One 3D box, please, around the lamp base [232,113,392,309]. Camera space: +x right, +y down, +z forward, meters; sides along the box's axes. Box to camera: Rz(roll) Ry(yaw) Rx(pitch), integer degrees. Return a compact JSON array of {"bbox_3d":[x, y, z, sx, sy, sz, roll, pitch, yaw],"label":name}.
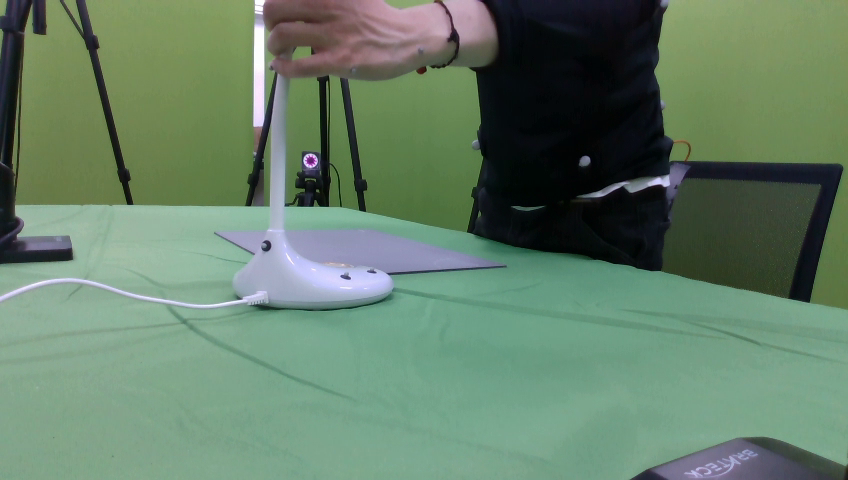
[{"bbox_3d":[-0.113,-0.031,0.594,0.160,0.180,0.179,4,10,18],"label":"lamp base"}]
